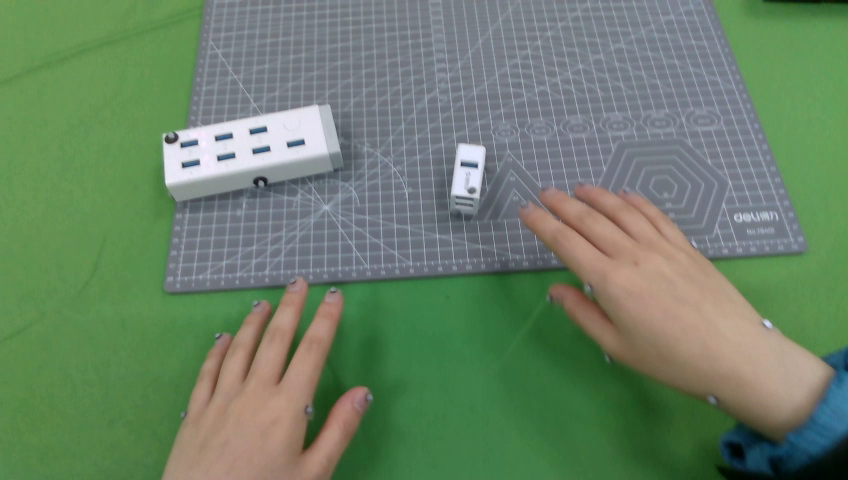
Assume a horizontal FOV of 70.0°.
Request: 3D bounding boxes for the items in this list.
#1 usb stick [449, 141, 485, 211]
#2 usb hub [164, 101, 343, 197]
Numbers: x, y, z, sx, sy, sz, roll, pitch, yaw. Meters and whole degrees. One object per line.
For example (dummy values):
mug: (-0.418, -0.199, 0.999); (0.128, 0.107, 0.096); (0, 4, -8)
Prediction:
usb stick: (0.032, -0.053, 0.443); (0.021, 0.027, 0.058); (7, 60, 6)
usb hub: (-0.127, -0.069, 0.453); (0.125, 0.025, 0.049); (-12, 63, -6)
